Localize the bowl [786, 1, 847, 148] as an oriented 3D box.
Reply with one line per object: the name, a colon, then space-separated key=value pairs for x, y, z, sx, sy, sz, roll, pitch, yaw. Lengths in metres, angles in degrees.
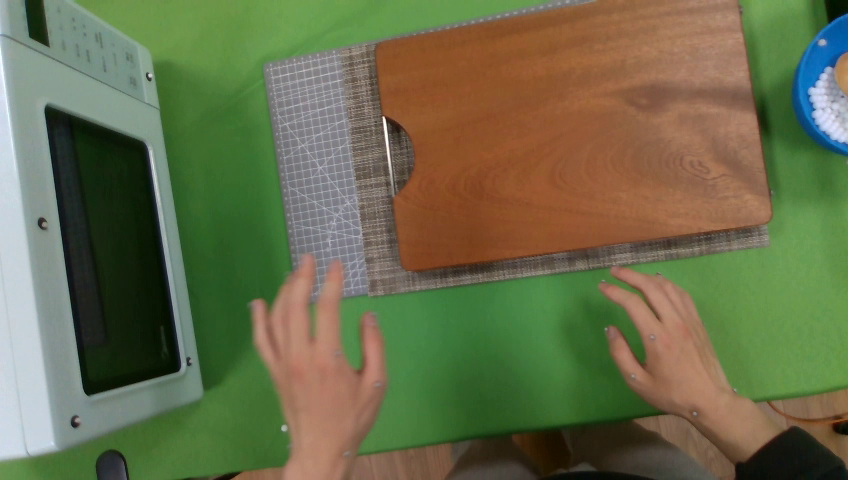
bowl: x=0.439 y=-0.159 z=0.617 sx=0.151 sy=0.077 sz=0.151 roll=0 pitch=88 yaw=9

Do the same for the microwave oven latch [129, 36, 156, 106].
microwave oven latch: x=-0.349 y=-0.202 z=0.732 sx=0.030 sy=0.029 sz=0.079 roll=-12 pitch=87 yaw=7

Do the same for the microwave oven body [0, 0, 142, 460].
microwave oven body: x=-0.474 y=-0.004 z=0.645 sx=0.326 sy=0.261 sz=0.441 roll=-12 pitch=87 yaw=7

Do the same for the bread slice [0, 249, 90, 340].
bread slice: x=-0.455 y=0.062 z=0.700 sx=0.131 sy=0.019 sz=0.105 roll=3 pitch=93 yaw=1

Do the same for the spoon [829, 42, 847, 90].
spoon: x=0.444 y=-0.113 z=0.584 sx=0.041 sy=0.022 sz=0.192 roll=-10 pitch=63 yaw=5

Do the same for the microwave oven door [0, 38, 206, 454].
microwave oven door: x=-0.325 y=0.008 z=0.618 sx=0.039 sy=0.244 sz=0.355 roll=-12 pitch=86 yaw=8

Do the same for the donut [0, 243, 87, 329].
donut: x=-0.426 y=0.051 z=0.669 sx=0.099 sy=0.048 sz=0.099 roll=-1 pitch=103 yaw=-5

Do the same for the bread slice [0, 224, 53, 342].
bread slice: x=-0.443 y=0.057 z=0.624 sx=0.134 sy=0.018 sz=0.107 roll=-22 pitch=87 yaw=20
